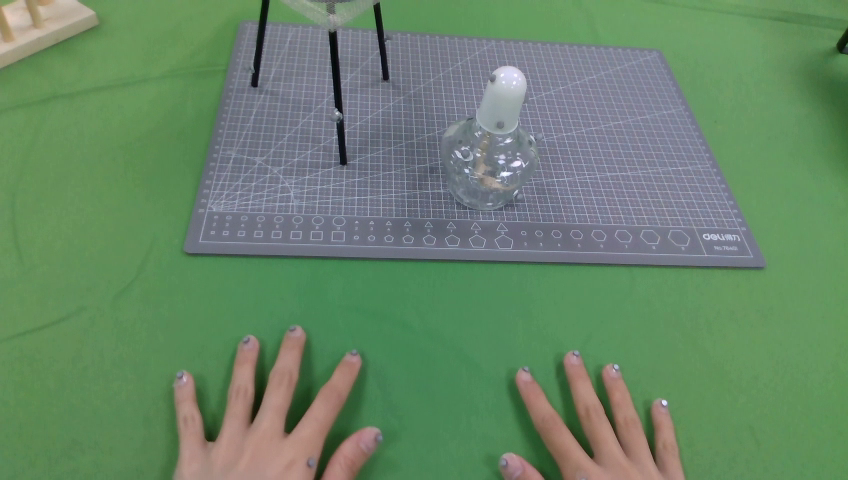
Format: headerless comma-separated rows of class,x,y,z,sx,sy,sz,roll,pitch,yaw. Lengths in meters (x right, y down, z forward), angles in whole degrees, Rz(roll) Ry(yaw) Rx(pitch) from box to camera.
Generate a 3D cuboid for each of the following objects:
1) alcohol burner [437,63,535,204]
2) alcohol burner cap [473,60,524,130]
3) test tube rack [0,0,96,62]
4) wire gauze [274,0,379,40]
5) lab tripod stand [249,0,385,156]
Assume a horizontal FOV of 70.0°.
alcohol burner,0.051,-0.084,0.462,0.078,0.120,0.077,5,50,-6
alcohol burner cap,0.055,-0.105,0.433,0.034,0.048,0.033,4,56,-5
test tube rack,-0.409,-0.185,0.496,0.066,0.086,0.242,33,54,17
wire gauze,-0.075,-0.205,0.443,0.124,0.011,0.121,35,58,14
lab tripod stand,-0.080,-0.165,0.493,0.149,0.132,0.147,5,52,-6
